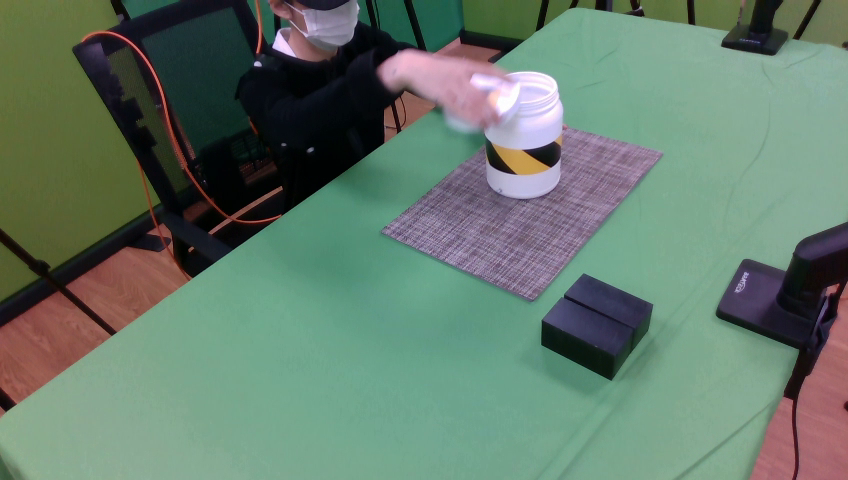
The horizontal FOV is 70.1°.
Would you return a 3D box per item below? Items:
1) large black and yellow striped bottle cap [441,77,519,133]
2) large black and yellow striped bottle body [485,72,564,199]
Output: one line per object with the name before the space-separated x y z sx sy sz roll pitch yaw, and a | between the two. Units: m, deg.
large black and yellow striped bottle cap | 0.082 -0.200 0.887 0.115 0.019 0.114 -8 48 9
large black and yellow striped bottle body | 0.169 -0.177 1.026 0.131 0.185 0.130 -4 40 4
